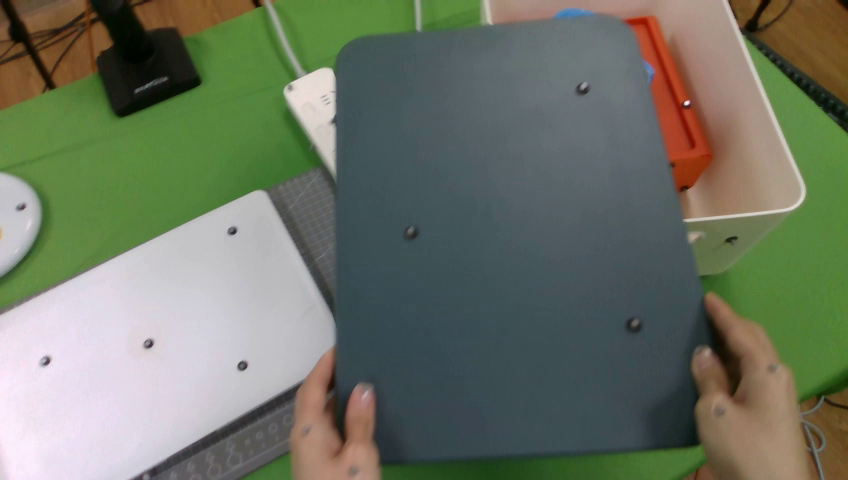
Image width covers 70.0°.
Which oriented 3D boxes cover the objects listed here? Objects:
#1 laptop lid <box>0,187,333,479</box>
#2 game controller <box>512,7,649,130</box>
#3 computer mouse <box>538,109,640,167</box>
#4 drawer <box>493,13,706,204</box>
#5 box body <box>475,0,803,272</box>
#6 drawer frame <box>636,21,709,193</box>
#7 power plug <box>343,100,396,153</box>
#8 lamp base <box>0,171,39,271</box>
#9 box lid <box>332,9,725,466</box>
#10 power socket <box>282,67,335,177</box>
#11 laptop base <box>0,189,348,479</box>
[{"bbox_3d":[-0.285,0.105,0.637,0.357,0.013,0.239,-27,68,-11],"label":"laptop lid"},{"bbox_3d":[0.180,-0.203,0.686,0.097,0.052,0.154,-28,66,-16],"label":"game controller"},{"bbox_3d":[0.193,-0.120,0.711,0.117,0.041,0.062,-2,70,6],"label":"computer mouse"},{"bbox_3d":[0.195,-0.157,0.711,0.194,0.074,0.210,-8,67,-2],"label":"drawer"},{"bbox_3d":[0.198,-0.140,0.673,0.254,0.161,0.360,-6,63,0],"label":"box body"},{"bbox_3d":[0.192,-0.151,0.715,0.202,0.083,0.211,-7,58,-3],"label":"drawer frame"},{"bbox_3d":[-0.062,-0.131,0.728,0.072,0.053,0.035,-19,63,-8],"label":"power plug"},{"bbox_3d":[-0.556,-0.054,0.654,0.178,0.182,0.160,17,65,14],"label":"lamp base"},{"bbox_3d":[0.061,-0.028,0.466,0.263,0.015,0.368,-4,67,2],"label":"box lid"},{"bbox_3d":[-0.103,-0.131,0.755,0.072,0.033,0.224,-29,65,-13],"label":"power socket"},{"bbox_3d":[-0.285,0.109,0.649,0.354,0.023,0.233,-29,69,-12],"label":"laptop base"}]
